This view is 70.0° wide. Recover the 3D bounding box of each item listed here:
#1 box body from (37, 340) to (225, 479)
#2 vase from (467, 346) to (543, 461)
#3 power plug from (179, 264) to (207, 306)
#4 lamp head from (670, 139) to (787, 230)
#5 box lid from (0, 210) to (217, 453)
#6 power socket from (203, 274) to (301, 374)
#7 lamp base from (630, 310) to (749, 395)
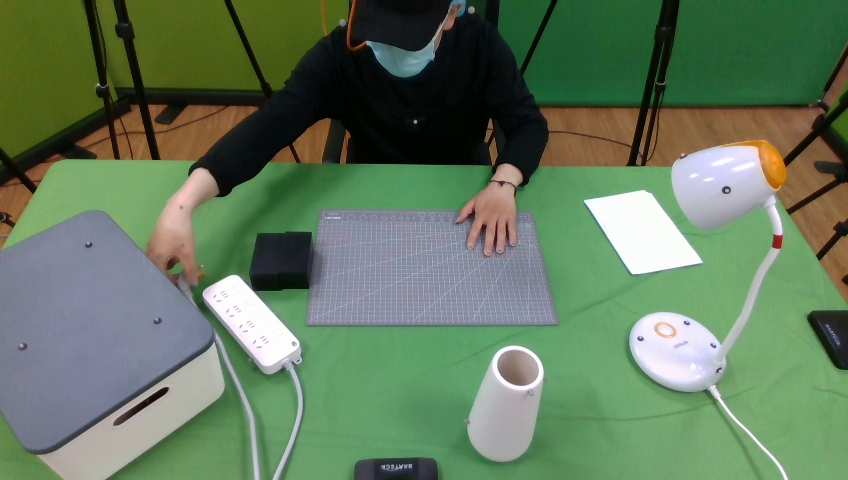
[{"bbox_3d":[-0.504,0.154,0.917,0.362,0.161,0.254,36,54,27],"label":"box body"},{"bbox_3d":[0.116,0.235,0.861,0.098,0.201,0.097,1,47,-1],"label":"vase"},{"bbox_3d":[-0.403,0.078,1.076,0.052,0.035,0.072,-29,90,-30],"label":"power plug"},{"bbox_3d":[0.415,-0.078,0.811,0.113,0.123,0.112,13,70,-37],"label":"lamp head"},{"bbox_3d":[-0.502,0.102,0.865,0.369,0.015,0.263,36,54,27],"label":"box lid"},{"bbox_3d":[-0.296,0.140,1.035,0.072,0.033,0.225,-32,57,-29],"label":"power socket"},{"bbox_3d":[0.447,0.143,0.984,0.161,0.181,0.178,-24,55,-24],"label":"lamp base"}]
